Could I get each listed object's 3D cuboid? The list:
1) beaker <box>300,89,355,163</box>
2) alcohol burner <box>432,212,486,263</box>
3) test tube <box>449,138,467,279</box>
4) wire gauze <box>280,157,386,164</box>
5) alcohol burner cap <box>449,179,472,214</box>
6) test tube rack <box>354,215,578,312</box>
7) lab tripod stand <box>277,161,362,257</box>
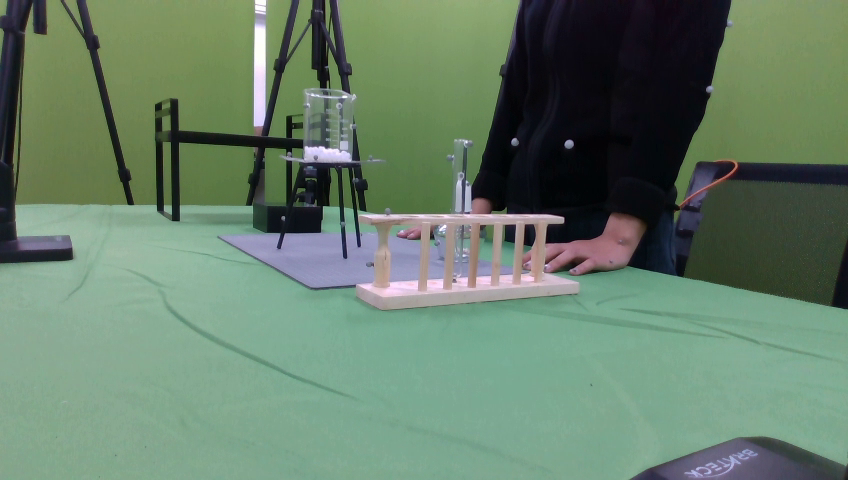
[{"bbox_3d":[-0.136,-0.161,0.867,0.083,0.100,0.074,5,8,24],"label":"beaker"},{"bbox_3d":[0.051,-0.027,0.863,0.078,0.119,0.078,1,6,0],"label":"alcohol burner"},{"bbox_3d":[0.035,-0.033,0.645,0.017,0.150,0.017,3,4,0],"label":"test tube"},{"bbox_3d":[-0.134,-0.113,0.875,0.122,0.011,0.124,-1,6,-30],"label":"wire gauze"},{"bbox_3d":[0.052,-0.063,0.858,0.034,0.048,0.034,2,13,0],"label":"alcohol burner cap"},{"bbox_3d":[0.053,0.019,0.641,0.243,0.085,0.066,-1,8,-29],"label":"test tube rack"},{"bbox_3d":[-0.142,-0.049,0.884,0.148,0.131,0.148,1,9,0],"label":"lab tripod stand"}]
